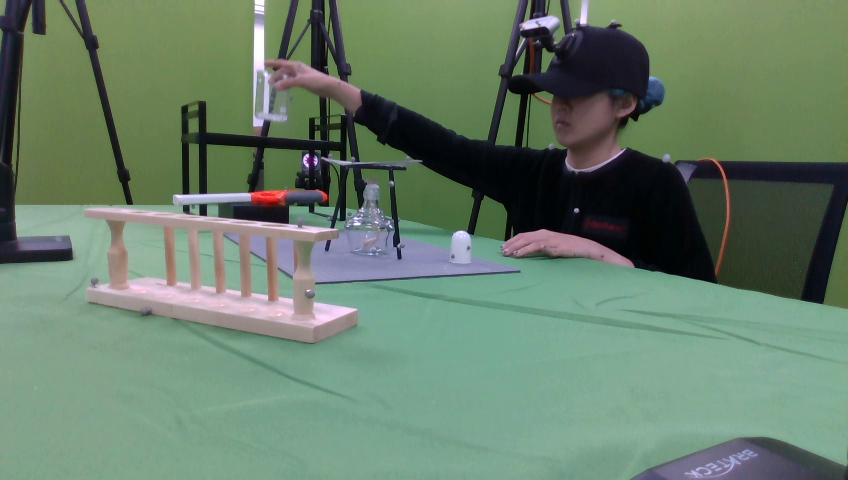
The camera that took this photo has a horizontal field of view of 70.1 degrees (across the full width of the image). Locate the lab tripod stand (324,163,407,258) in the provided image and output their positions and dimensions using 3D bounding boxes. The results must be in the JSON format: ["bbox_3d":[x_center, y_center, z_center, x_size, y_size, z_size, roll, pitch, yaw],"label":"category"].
[{"bbox_3d":[-0.073,-0.047,0.900,0.148,0.131,0.148,2,5,0],"label":"lab tripod stand"}]

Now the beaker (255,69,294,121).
[{"bbox_3d":[-0.318,-0.306,1.287,0.084,0.100,0.074,11,10,18],"label":"beaker"}]

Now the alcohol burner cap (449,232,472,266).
[{"bbox_3d":[0.052,0.012,0.843,0.034,0.048,0.034,2,6,0],"label":"alcohol burner cap"}]

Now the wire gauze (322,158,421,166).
[{"bbox_3d":[-0.079,-0.114,0.893,0.122,0.011,0.124,0,6,-25],"label":"wire gauze"}]

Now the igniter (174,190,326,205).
[{"bbox_3d":[-0.317,-0.079,1.131,0.278,0.025,0.057,-4,13,-32],"label":"igniter"}]

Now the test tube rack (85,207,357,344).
[{"bbox_3d":[-0.177,0.022,0.518,0.241,0.085,0.067,6,7,23],"label":"test tube rack"}]

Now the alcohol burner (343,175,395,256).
[{"bbox_3d":[-0.079,-0.036,0.890,0.078,0.119,0.078,5,7,0],"label":"alcohol burner"}]
